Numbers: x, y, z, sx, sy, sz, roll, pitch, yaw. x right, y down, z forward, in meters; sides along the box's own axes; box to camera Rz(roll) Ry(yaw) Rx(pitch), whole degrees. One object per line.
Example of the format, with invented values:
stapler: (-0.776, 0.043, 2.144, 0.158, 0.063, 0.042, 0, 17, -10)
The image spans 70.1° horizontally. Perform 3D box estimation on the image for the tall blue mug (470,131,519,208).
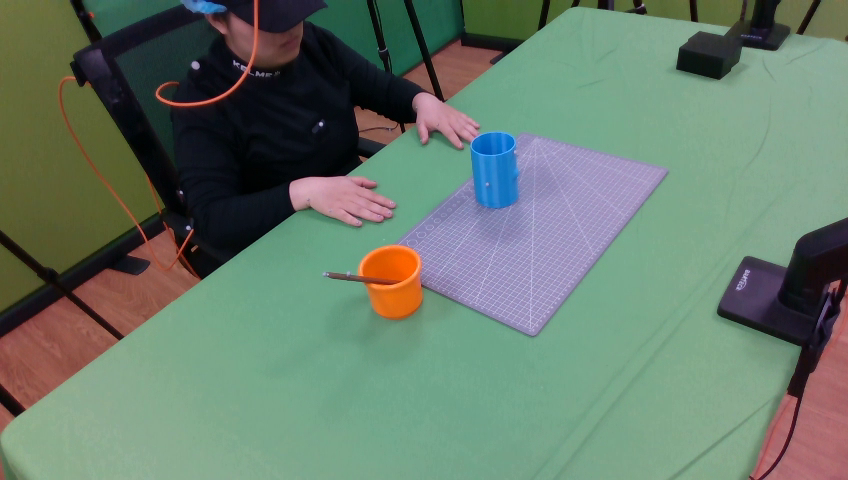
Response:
tall blue mug: (0.122, -0.129, 1.042, 0.078, 0.108, 0.106, -7, 40, 5)

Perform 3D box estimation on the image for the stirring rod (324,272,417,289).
stirring rod: (-0.069, 0.057, 0.840, 0.014, 0.006, 0.178, 27, 9, 39)
